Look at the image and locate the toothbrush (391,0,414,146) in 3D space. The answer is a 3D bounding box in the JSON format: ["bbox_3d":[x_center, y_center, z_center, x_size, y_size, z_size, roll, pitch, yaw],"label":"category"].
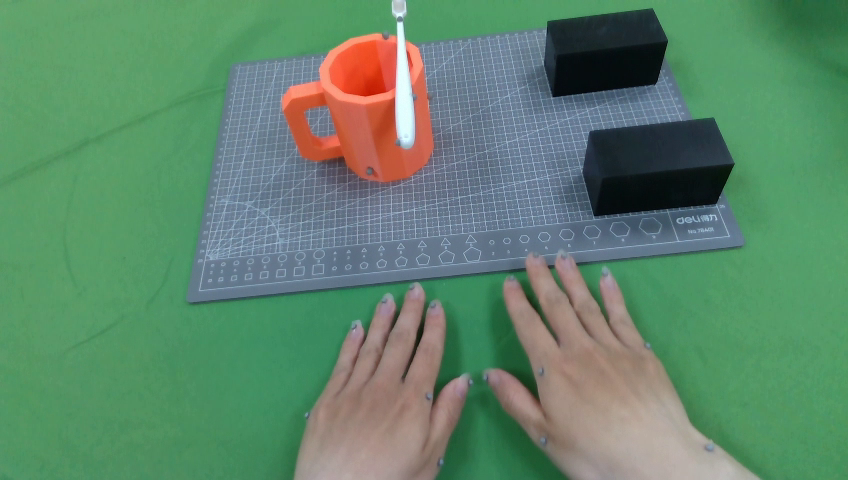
[{"bbox_3d":[-0.018,-0.144,0.483,0.014,0.017,0.180,1,55,-7],"label":"toothbrush"}]

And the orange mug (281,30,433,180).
[{"bbox_3d":[-0.057,-0.114,0.530,0.126,0.102,0.082,-10,55,-6],"label":"orange mug"}]
